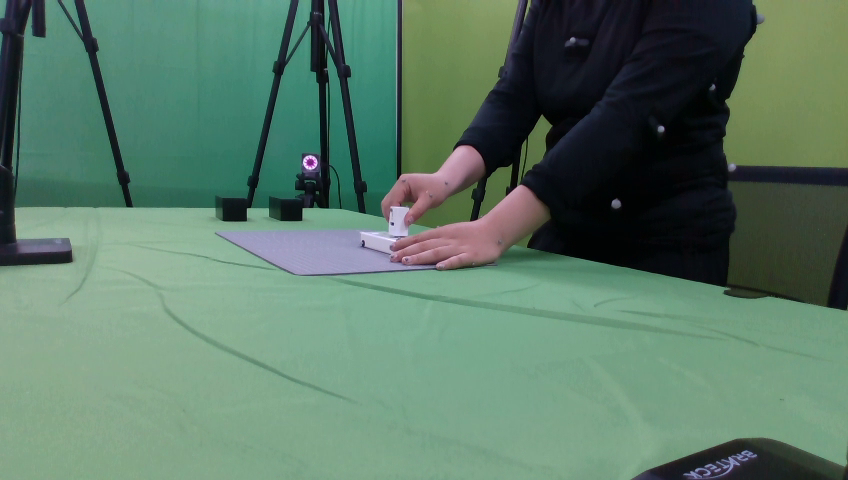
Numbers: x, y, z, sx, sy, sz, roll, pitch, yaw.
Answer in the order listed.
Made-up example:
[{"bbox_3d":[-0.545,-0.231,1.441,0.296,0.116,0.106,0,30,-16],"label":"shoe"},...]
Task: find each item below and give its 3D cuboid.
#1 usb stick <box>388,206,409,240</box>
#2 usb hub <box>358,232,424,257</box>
[{"bbox_3d":[-0.040,-0.022,0.931,0.027,0.059,0.021,-6,14,-35],"label":"usb stick"},{"bbox_3d":[-0.055,0.005,0.947,0.050,0.025,0.124,-2,8,-34],"label":"usb hub"}]
